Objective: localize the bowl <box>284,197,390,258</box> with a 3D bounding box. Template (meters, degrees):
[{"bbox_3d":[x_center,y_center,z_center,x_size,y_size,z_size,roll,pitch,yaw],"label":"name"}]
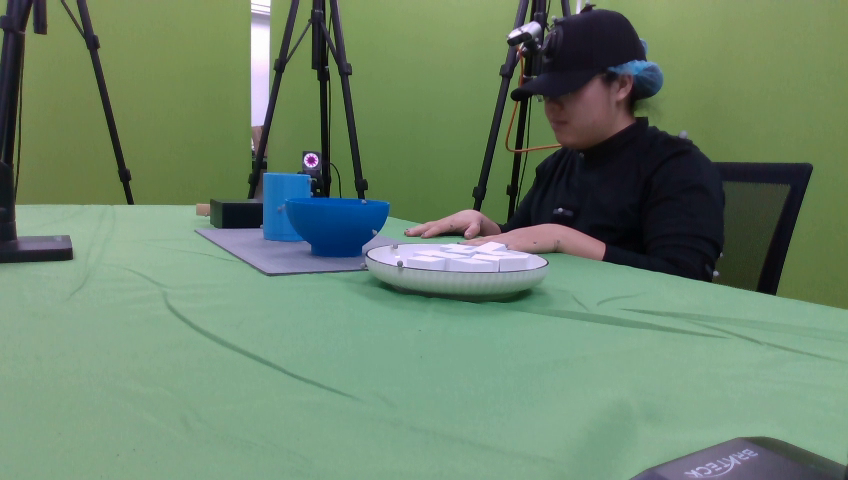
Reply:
[{"bbox_3d":[-0.125,-0.019,0.870,0.151,0.077,0.151,2,7,0],"label":"bowl"}]

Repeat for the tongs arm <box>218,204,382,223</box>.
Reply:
[{"bbox_3d":[-0.285,-0.061,1.382,0.387,0.027,0.028,3,-2,6],"label":"tongs arm"}]

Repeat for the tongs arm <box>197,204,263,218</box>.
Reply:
[{"bbox_3d":[-0.282,-0.057,1.301,0.386,0.026,0.050,2,1,-7],"label":"tongs arm"}]

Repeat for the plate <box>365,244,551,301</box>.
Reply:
[{"bbox_3d":[0.038,0.035,0.685,0.209,0.038,0.209,2,7,0],"label":"plate"}]

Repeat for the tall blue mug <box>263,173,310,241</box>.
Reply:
[{"bbox_3d":[-0.233,-0.058,1.019,0.078,0.108,0.107,-1,8,-19],"label":"tall blue mug"}]
